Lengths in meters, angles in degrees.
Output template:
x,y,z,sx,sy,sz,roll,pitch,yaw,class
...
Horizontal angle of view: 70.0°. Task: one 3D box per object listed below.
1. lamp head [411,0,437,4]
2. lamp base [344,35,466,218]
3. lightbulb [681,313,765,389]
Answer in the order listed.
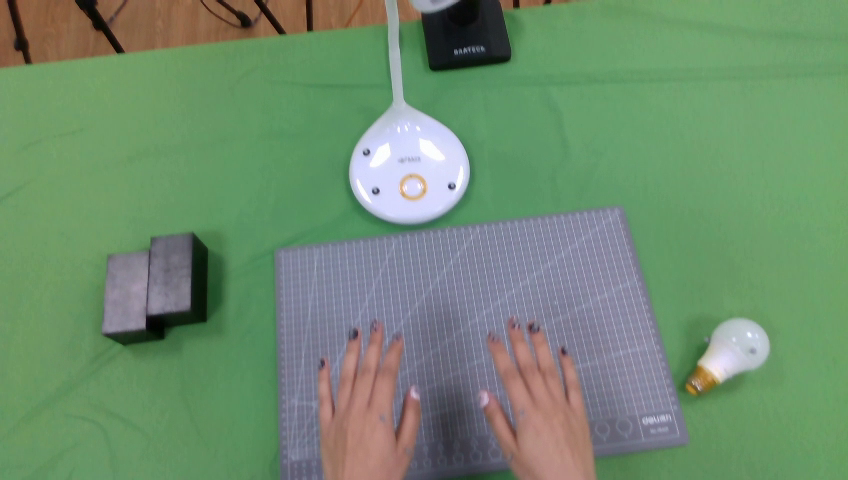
x,y,z,sx,sy,sz,roll,pitch,yaw,class
-0.004,-0.251,0.436,0.112,0.113,0.122,-37,80,-14,lamp head
-0.031,-0.142,0.734,0.161,0.181,0.177,-15,65,-5,lamp base
0.334,0.128,0.684,0.107,0.060,0.059,-43,72,1,lightbulb
